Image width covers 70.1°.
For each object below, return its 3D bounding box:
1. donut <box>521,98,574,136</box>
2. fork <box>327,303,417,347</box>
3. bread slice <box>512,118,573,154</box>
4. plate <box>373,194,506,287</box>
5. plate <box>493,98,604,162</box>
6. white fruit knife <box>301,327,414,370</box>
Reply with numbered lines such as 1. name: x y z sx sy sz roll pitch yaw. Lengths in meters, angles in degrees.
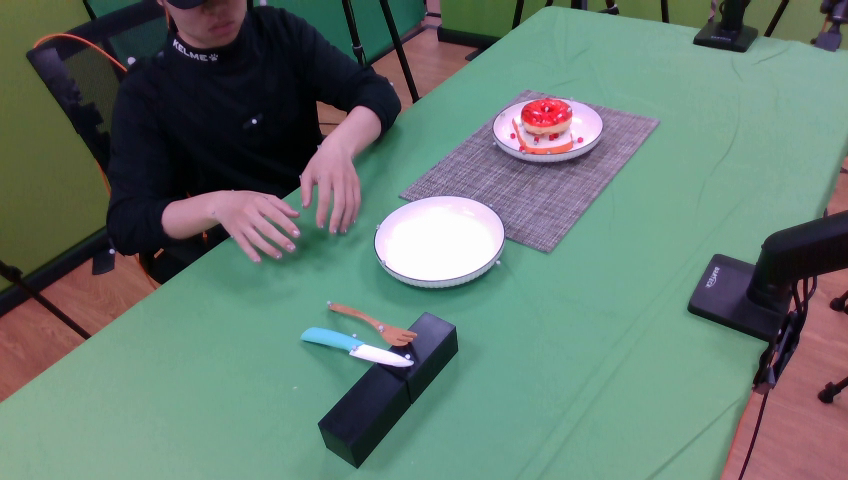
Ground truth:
1. donut: 0.232 -0.232 1.135 0.099 0.048 0.098 -4 41 4
2. fork: -0.077 0.110 0.811 0.028 0.019 0.205 -41 33 -26
3. bread slice: 0.232 -0.204 1.160 0.105 0.019 0.131 -7 39 1
4. plate: 0.025 0.003 0.951 0.207 0.039 0.206 -4 41 4
5. plate: 0.237 -0.206 1.158 0.209 0.038 0.208 -4 40 4
6. white fruit knife: -0.088 0.140 0.781 0.205 0.016 0.027 7 42 42
